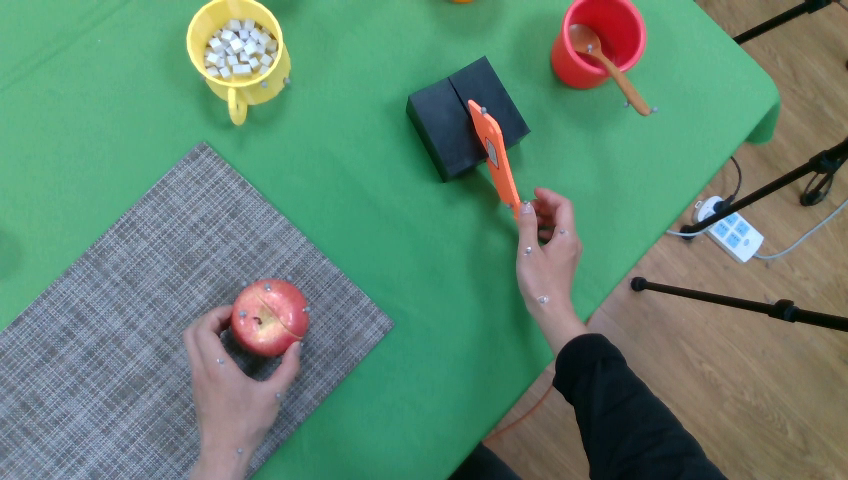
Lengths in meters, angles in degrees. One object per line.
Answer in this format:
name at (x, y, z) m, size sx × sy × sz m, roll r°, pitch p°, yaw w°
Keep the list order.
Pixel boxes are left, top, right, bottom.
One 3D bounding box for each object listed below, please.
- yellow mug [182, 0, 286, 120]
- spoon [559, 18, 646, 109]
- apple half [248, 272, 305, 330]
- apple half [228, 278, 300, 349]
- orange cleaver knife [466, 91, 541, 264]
yellow mug at (-0.207, -0.198, 0.667) m, size 0.100 × 0.064 × 0.130 m, roll 2°, pitch 87°, yaw -6°
spoon at (0.198, -0.201, 0.675) m, size 0.042 × 0.191 × 0.022 m, roll -9°, pitch 132°, yaw -8°
apple half at (-0.149, 0.058, 0.649) m, size 0.033 × 0.081 × 0.081 m, roll -42°, pitch 91°, yaw -4°
apple half at (-0.177, 0.084, 0.645) m, size 0.053 × 0.074 × 0.081 m, roll -41°, pitch 95°, yaw -3°
orange cleaver knife at (0.090, -0.067, 0.685) m, size 0.012 × 0.076 × 0.213 m, roll -26°, pitch 119°, yaw -4°
